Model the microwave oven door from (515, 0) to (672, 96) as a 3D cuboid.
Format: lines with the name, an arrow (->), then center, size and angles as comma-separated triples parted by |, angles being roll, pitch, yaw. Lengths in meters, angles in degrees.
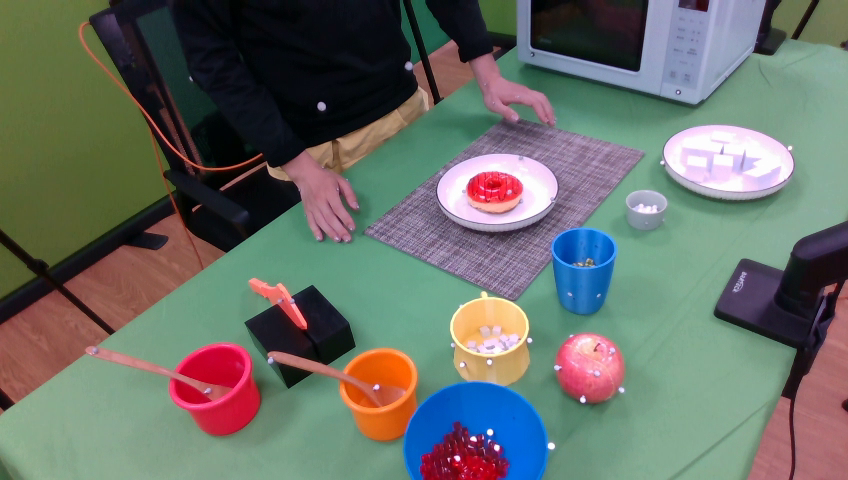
microwave oven door -> 0.344, -0.455, 1.260 | 0.353, 0.245, 0.039 | 26, 51, 33

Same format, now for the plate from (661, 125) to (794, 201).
plate -> 0.513, -0.128, 1.035 | 0.207, 0.039, 0.206 | -4, 40, 4

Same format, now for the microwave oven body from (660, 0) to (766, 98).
microwave oven body -> 0.472, -0.513, 1.317 | 0.438, 0.261, 0.327 | 26, 51, 34

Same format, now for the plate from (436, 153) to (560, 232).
plate -> 0.125, -0.078, 1.029 | 0.209, 0.038, 0.208 | -4, 40, 4

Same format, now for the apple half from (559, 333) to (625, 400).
apple half -> 0.209, 0.147, 0.730 | 0.080, 0.075, 0.053 | 26, 48, 38

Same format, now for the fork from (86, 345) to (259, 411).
fork -> -0.298, 0.166, 0.728 | 0.209, 0.018, 0.028 | 28, 47, -23

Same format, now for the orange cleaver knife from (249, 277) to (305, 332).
orange cleaver knife -> -0.210, 0.088, 0.855 | 0.012, 0.077, 0.210 | -28, 15, -25

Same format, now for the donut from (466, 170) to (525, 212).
donut -> 0.121, -0.084, 1.019 | 0.099, 0.048, 0.098 | -4, 39, 3

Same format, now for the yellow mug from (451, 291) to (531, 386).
yellow mug -> 0.086, 0.120, 0.786 | 0.100, 0.064, 0.130 | -7, 39, 1

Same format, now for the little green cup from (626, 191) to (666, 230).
little green cup -> 0.352, -0.046, 0.963 | 0.061, 0.039, 0.061 | -4, 40, 4

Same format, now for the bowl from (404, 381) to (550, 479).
bowl -> 0.058, 0.235, 0.645 | 0.151, 0.077, 0.150 | -4, 39, 4

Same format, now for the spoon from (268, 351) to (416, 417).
spoon -> -0.091, 0.163, 0.699 | 0.021, 0.195, 0.041 | -44, 31, 28

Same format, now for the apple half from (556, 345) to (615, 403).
apple half -> 0.181, 0.167, 0.709 | 0.080, 0.081, 0.033 | 29, 50, 35

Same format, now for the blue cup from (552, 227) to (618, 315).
blue cup -> 0.218, 0.047, 0.825 | 0.092, 0.100, 0.092 | -6, 39, 5

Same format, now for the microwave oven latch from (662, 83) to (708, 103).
microwave oven latch -> 0.517, -0.296, 1.204 | 0.078, 0.029, 0.030 | 27, 52, 35
